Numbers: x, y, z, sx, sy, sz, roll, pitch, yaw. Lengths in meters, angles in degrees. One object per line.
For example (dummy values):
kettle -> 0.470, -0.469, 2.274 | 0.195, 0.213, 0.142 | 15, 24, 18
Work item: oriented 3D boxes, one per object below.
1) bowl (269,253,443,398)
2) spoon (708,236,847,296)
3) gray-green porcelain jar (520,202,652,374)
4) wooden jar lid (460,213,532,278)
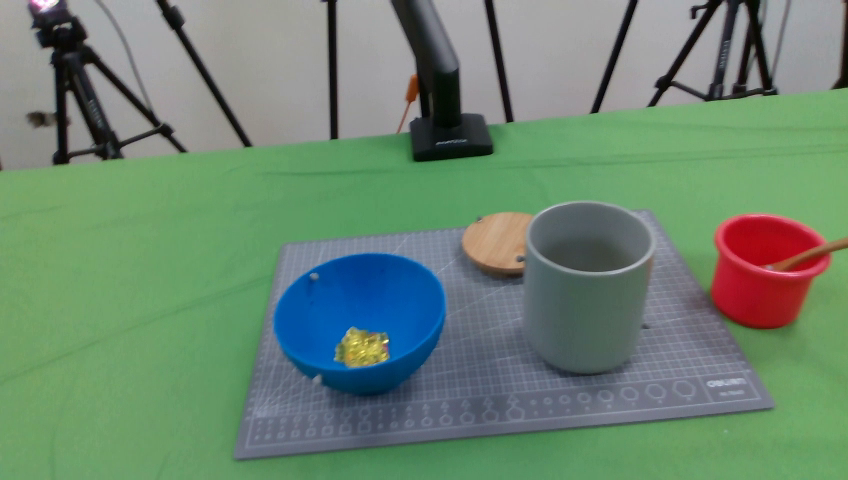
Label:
bowl -> -0.055, 0.088, 0.544 | 0.151, 0.077, 0.150 | -3, 37, 3
spoon -> 0.349, 0.015, 0.544 | 0.022, 0.193, 0.041 | 50, 48, -6
gray-green porcelain jar -> 0.138, 0.047, 0.536 | 0.106, 0.127, 0.105 | -3, 37, 3
wooden jar lid -> 0.095, 0.007, 0.685 | 0.108, 0.021, 0.107 | -4, 35, 3
